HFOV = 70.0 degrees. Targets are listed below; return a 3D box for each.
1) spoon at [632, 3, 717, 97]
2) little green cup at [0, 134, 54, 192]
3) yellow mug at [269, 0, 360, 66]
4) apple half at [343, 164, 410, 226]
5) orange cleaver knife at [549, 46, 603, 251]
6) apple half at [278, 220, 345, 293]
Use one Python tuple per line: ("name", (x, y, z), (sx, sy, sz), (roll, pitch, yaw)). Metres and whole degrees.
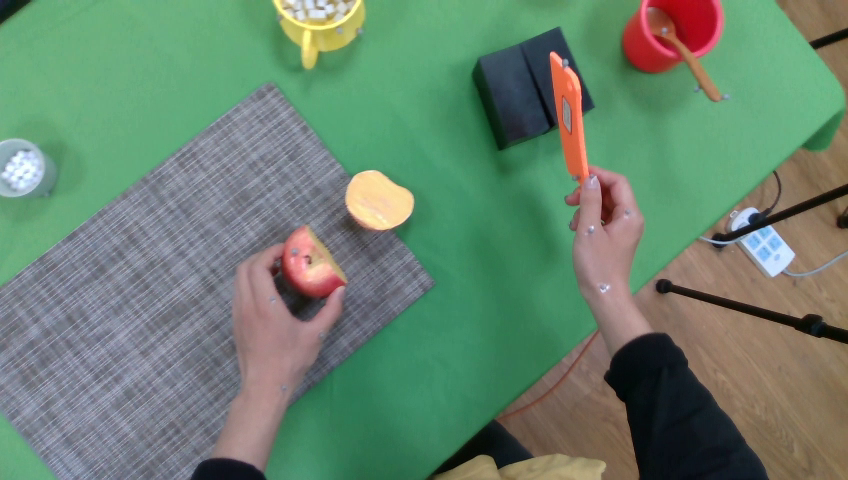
("spoon", (0.278, -0.215, 0.673), (0.042, 0.022, 0.191), (-3, 43, -5))
("little green cup", (-0.434, -0.080, 0.652), (0.061, 0.038, 0.061), (0, 88, -5))
("yellow mug", (-0.124, -0.259, 0.674), (0.100, 0.064, 0.130), (9, 88, -5))
("apple half", (-0.059, -0.044, 0.682), (0.081, 0.033, 0.080), (11, 56, -16))
("orange cleaver knife", (0.154, -0.089, 0.617), (0.012, 0.076, 0.213), (-17, 117, 2))
("apple half", (-0.128, 0.025, 0.656), (0.053, 0.074, 0.081), (-36, 94, -1))
